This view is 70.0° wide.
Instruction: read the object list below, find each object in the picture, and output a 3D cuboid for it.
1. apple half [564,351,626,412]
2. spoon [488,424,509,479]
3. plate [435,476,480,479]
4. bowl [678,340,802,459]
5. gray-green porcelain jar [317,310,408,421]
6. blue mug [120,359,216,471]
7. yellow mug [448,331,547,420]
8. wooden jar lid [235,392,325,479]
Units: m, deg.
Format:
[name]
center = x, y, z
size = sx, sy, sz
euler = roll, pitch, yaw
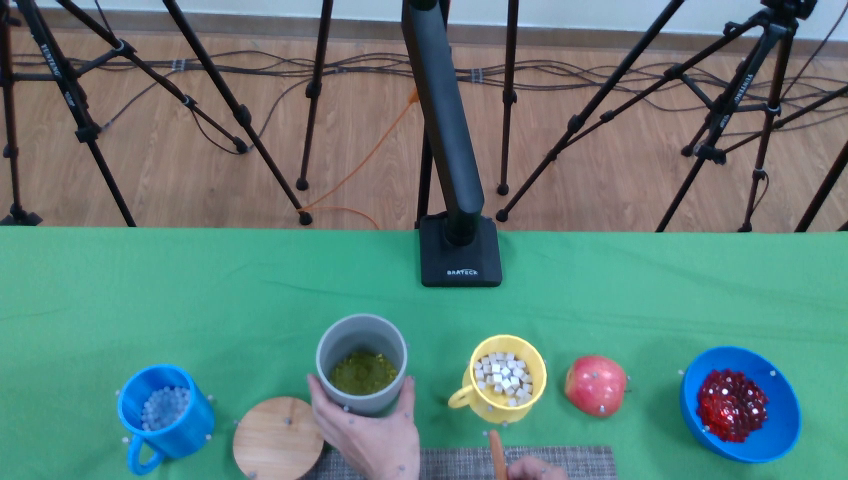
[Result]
[apple half]
center = 0.231, 0.183, 0.809
size = 0.074, 0.054, 0.080
euler = 19, 59, 9
[spoon]
center = 0.097, 0.299, 0.675
size = 0.041, 0.021, 0.194
euler = -10, 97, 20
[plate]
center = 0.039, 0.376, 0.676
size = 0.208, 0.039, 0.205
euler = 3, 59, -4
[bowl]
center = 0.395, 0.215, 0.790
size = 0.151, 0.077, 0.150
euler = 3, 59, -4
[gray-green porcelain jar]
center = -0.075, 0.161, 0.747
size = 0.106, 0.127, 0.105
euler = 3, 58, -4
[blue mug]
center = -0.303, 0.210, 0.705
size = 0.082, 0.106, 0.116
euler = 19, 59, 6
[yellow mug]
center = 0.090, 0.182, 0.786
size = 0.131, 0.064, 0.099
euler = -21, 63, -16
[wooden jar lid]
center = -0.176, 0.242, 0.746
size = 0.108, 0.021, 0.107
euler = 3, 55, -4
